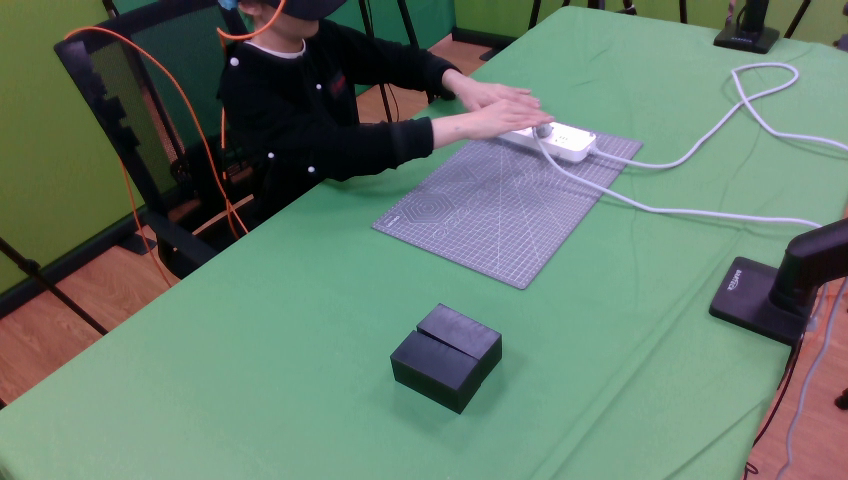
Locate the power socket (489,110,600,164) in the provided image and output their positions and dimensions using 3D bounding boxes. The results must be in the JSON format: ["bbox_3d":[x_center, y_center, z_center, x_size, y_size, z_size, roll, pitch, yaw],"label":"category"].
[{"bbox_3d":[0.226,-0.202,1.166,0.225,0.033,0.072,26,50,33],"label":"power socket"}]

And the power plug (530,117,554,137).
[{"bbox_3d":[0.213,-0.200,1.130,0.073,0.053,0.035,-31,44,-26],"label":"power plug"}]
